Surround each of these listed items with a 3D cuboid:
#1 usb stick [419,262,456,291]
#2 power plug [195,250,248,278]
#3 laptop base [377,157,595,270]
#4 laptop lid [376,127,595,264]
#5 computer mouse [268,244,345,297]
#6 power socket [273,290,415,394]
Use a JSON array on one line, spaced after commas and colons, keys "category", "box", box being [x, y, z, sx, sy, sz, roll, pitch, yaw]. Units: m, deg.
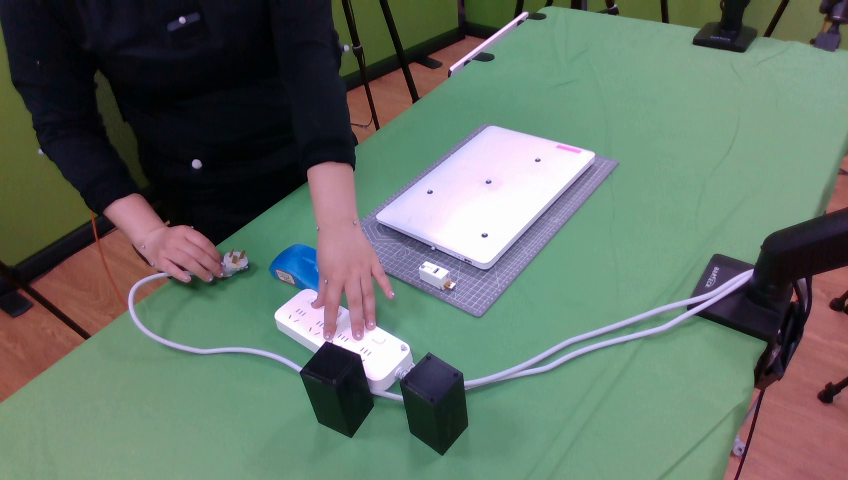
[{"category": "usb stick", "box": [0.022, 0.056, 0.892, 0.058, 0.027, 0.021, 26, 47, 30]}, {"category": "power plug", "box": [-0.309, 0.040, 0.938, 0.035, 0.052, 0.073, 48, 36, 20]}, {"category": "laptop base", "box": [0.115, -0.086, 1.056, 0.233, 0.023, 0.355, 21, 48, 34]}, {"category": "laptop lid", "box": [0.112, -0.096, 1.051, 0.239, 0.013, 0.358, 24, 49, 35]}, {"category": "computer mouse", "box": [-0.182, 0.044, 0.932, 0.116, 0.041, 0.063, 23, 46, 24]}, {"category": "power socket", "box": [-0.115, 0.133, 0.819, 0.225, 0.033, 0.072, 25, 47, 31]}]
